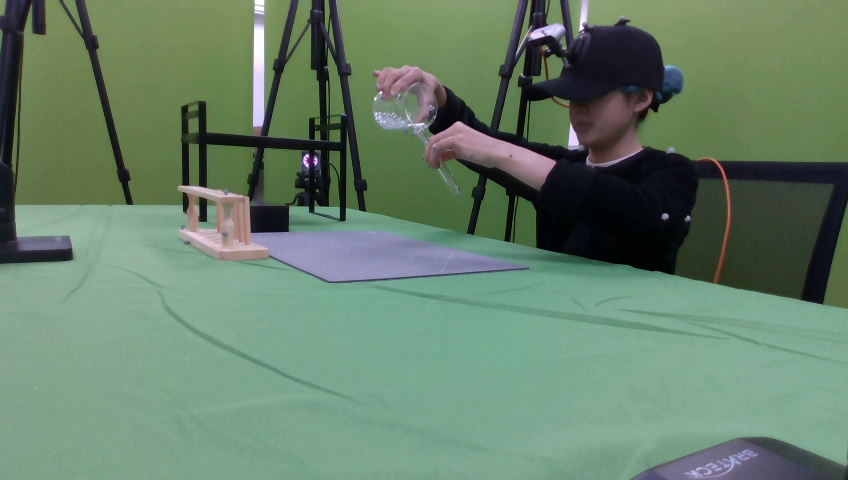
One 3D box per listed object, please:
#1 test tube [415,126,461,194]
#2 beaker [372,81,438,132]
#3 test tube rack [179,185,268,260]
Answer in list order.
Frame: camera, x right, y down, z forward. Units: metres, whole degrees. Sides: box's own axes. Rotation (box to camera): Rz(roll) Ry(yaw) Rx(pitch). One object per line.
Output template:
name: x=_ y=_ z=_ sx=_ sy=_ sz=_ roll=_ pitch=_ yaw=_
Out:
test tube: x=0.022 y=-0.130 z=0.976 sx=0.017 sy=0.017 sz=0.149 roll=-3 pitch=51 yaw=-37
beaker: x=-0.036 y=-0.226 z=1.046 sx=0.074 sy=0.084 sz=0.100 roll=5 pitch=1 yaw=-42
test tube rack: x=-0.303 y=-0.031 z=0.898 sx=0.067 sy=0.085 sz=0.241 roll=-2 pitch=9 yaw=-33
